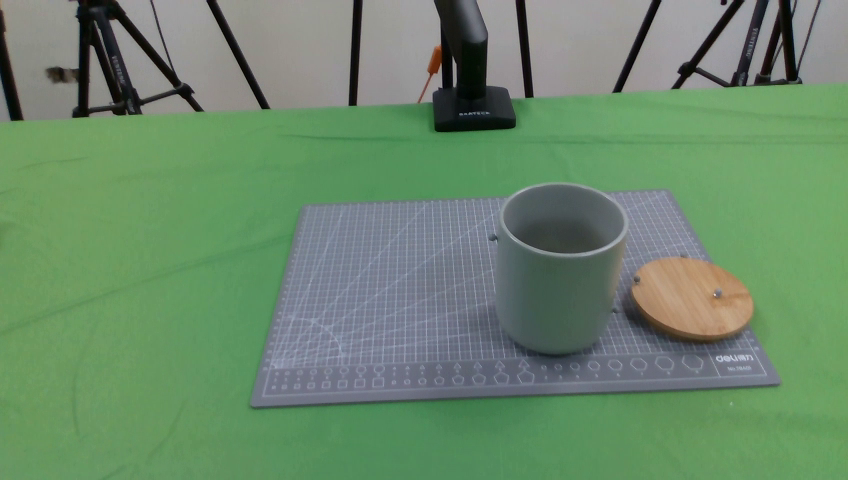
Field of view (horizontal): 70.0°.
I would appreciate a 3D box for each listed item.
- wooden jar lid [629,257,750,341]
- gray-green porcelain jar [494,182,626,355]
[{"bbox_3d":[0.251,0.057,0.579,0.108,0.021,0.107,-2,37,2],"label":"wooden jar lid"},{"bbox_3d":[0.115,0.029,0.535,0.106,0.127,0.105,-2,39,2],"label":"gray-green porcelain jar"}]
